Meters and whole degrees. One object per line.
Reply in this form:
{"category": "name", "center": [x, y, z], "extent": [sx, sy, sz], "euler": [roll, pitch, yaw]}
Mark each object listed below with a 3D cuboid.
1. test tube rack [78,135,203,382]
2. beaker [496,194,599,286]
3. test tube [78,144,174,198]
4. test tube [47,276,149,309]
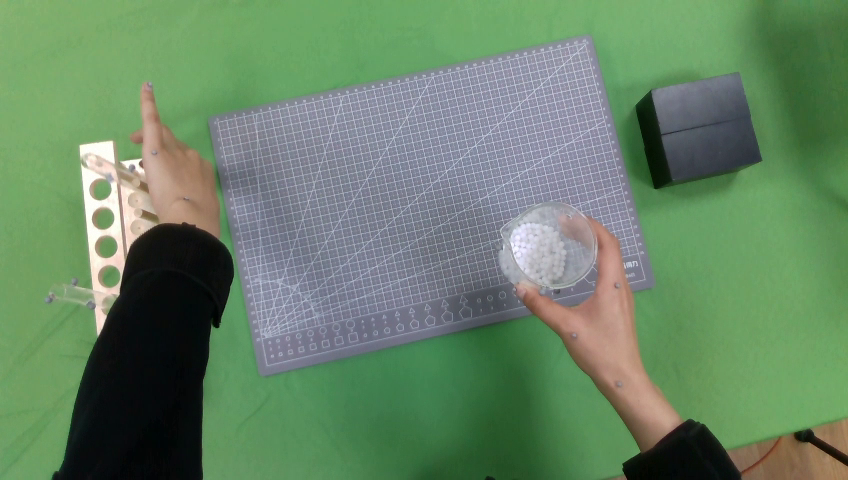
{"category": "test tube rack", "center": [-0.294, 0.018, 0.635], "extent": [0.067, 0.085, 0.241], "euler": [-9, 85, -1]}
{"category": "beaker", "center": [0.103, 0.004, 0.549], "extent": [0.084, 0.100, 0.074], "euler": [17, 82, 2]}
{"category": "test tube", "center": [-0.289, -0.065, 0.595], "extent": [0.017, 0.151, 0.017], "euler": [-1, 81, 4]}
{"category": "test tube", "center": [-0.306, 0.053, 0.583], "extent": [0.017, 0.151, 0.017], "euler": [-1, 79, 3]}
